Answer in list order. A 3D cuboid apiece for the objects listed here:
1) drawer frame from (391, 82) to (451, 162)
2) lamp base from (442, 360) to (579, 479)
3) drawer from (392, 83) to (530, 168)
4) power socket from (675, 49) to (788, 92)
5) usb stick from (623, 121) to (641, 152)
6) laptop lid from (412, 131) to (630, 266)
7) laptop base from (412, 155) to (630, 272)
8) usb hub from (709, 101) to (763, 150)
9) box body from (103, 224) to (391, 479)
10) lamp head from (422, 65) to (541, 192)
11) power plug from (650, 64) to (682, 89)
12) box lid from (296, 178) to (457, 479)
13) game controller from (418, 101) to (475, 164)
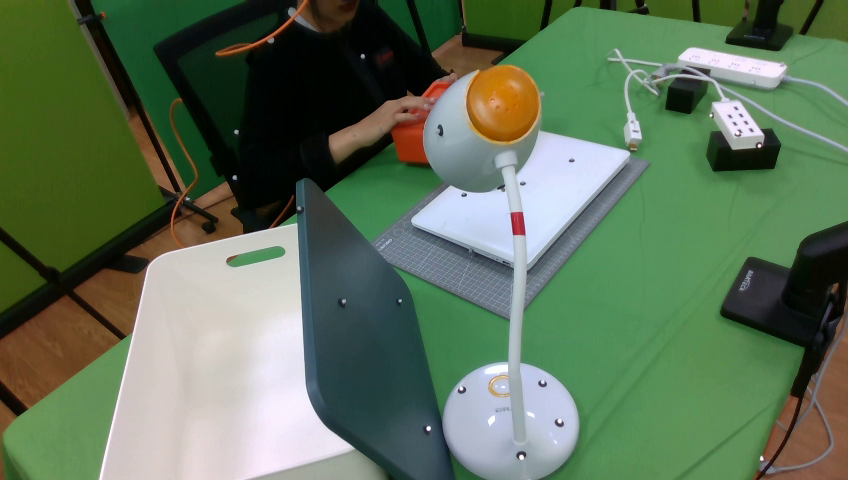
[{"bbox_3d":[0.079,-0.226,1.169,0.212,0.083,0.202,9,42,26],"label":"drawer frame"},{"bbox_3d":[0.094,0.158,0.657,0.161,0.181,0.178,-14,42,-5],"label":"lamp base"},{"bbox_3d":[0.075,-0.225,1.170,0.210,0.073,0.194,10,44,26],"label":"drawer"},{"bbox_3d":[0.647,-0.363,1.284,0.225,0.033,0.072,26,53,35],"label":"power socket"},{"bbox_3d":[0.389,-0.191,1.128,0.021,0.027,0.059,8,61,-9],"label":"usb stick"},{"bbox_3d":[0.172,-0.094,1.050,0.239,0.013,0.358,23,49,36],"label":"laptop lid"},{"bbox_3d":[0.175,-0.084,1.056,0.233,0.023,0.355,21,48,35],"label":"laptop base"},{"bbox_3d":[0.534,-0.199,1.040,0.049,0.025,0.124,-5,39,8],"label":"usb hub"},{"bbox_3d":[-0.190,0.161,0.723,0.255,0.161,0.361,-13,40,-5],"label":"box body"},{"bbox_3d":[0.060,-0.106,0.560,0.113,0.112,0.122,-16,0,-8],"label":"lamp head"},{"bbox_3d":[0.498,-0.341,1.263,0.035,0.052,0.072,20,10,-7],"label":"power plug"},{"bbox_3d":[-0.060,0.103,0.702,0.015,0.265,0.369,-30,39,11],"label":"box lid"},{"bbox_3d":[0.039,-0.220,1.193,0.096,0.052,0.155,-23,24,41],"label":"game controller"}]
